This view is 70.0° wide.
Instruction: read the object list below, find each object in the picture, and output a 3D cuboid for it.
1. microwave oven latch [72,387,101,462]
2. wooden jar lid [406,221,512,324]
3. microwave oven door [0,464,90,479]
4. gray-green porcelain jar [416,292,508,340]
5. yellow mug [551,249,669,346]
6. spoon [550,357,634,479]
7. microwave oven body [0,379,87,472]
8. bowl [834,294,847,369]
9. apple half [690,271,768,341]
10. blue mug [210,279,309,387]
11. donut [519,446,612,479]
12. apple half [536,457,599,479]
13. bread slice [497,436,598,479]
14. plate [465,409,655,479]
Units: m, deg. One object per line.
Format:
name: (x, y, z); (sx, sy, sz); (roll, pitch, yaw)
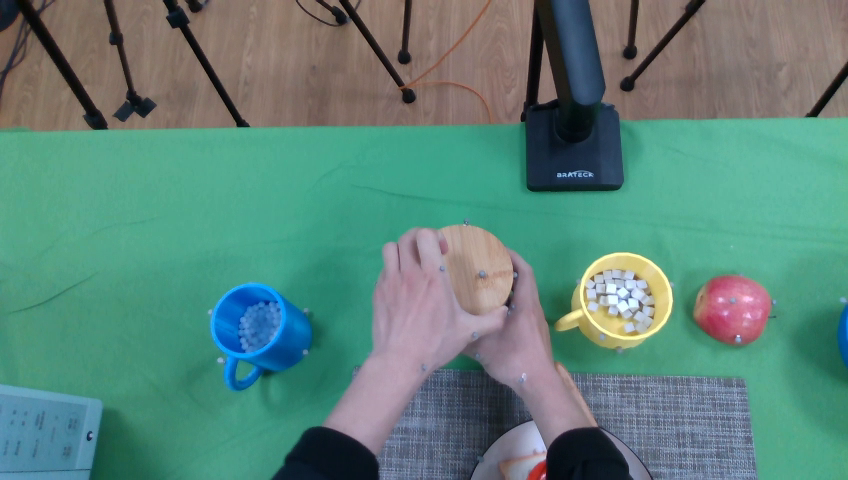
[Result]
microwave oven latch: (-0.397, 0.211, 0.694); (0.030, 0.030, 0.078); (6, 73, 7)
wooden jar lid: (0.036, 0.034, 0.623); (0.108, 0.021, 0.107); (-2, 70, 7)
microwave oven door: (-0.416, 0.387, 0.530); (0.039, 0.245, 0.353); (0, 71, 6)
gray-green porcelain jar: (0.042, 0.055, 0.682); (0.106, 0.127, 0.105); (-2, 71, 5)
yellow mug: (0.207, 0.073, 0.693); (0.131, 0.064, 0.099); (-22, 71, -2)
spoon: (0.185, 0.212, 0.643); (0.041, 0.022, 0.193); (-25, 80, -6)
microwave oven body: (-0.559, 0.347, 0.562); (0.326, 0.262, 0.439); (1, 72, 5)
bowl: (0.508, 0.109, 0.648); (0.151, 0.077, 0.150); (-2, 72, 5)
apple half: (0.350, 0.070, 0.689); (0.074, 0.054, 0.080); (22, 75, 14)
blue mug: (-0.192, 0.113, 0.693); (0.082, 0.106, 0.116); (21, 75, 11)
donut: (0.145, 0.261, 0.617); (0.099, 0.048, 0.098); (-1, 70, 3)
apple half: (0.140, 0.252, 0.583); (0.081, 0.033, 0.080); (-4, 67, 11)
bread slice: (0.148, 0.285, 0.643); (0.107, 0.018, 0.133); (-16, 69, 2)
plate: (0.142, 0.286, 0.639); (0.207, 0.039, 0.206); (-1, 72, 5)
